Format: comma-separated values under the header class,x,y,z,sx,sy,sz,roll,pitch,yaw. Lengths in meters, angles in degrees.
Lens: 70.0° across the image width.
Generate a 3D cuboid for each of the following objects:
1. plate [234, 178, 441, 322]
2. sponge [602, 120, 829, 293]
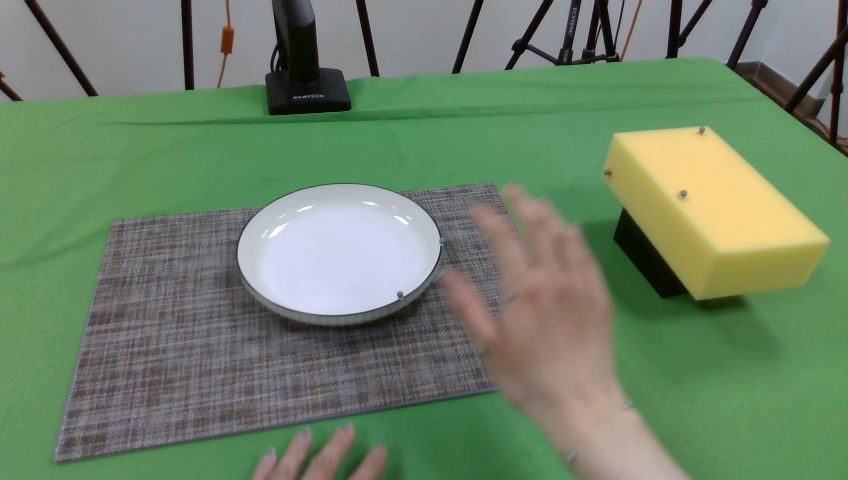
class,x,y,z,sx,sy,sz,roll,pitch,yaw
plate,-0.087,0.010,0.628,0.208,0.039,0.205,2,41,-2
sponge,0.286,-0.044,0.626,0.118,0.061,0.204,-7,42,-11
